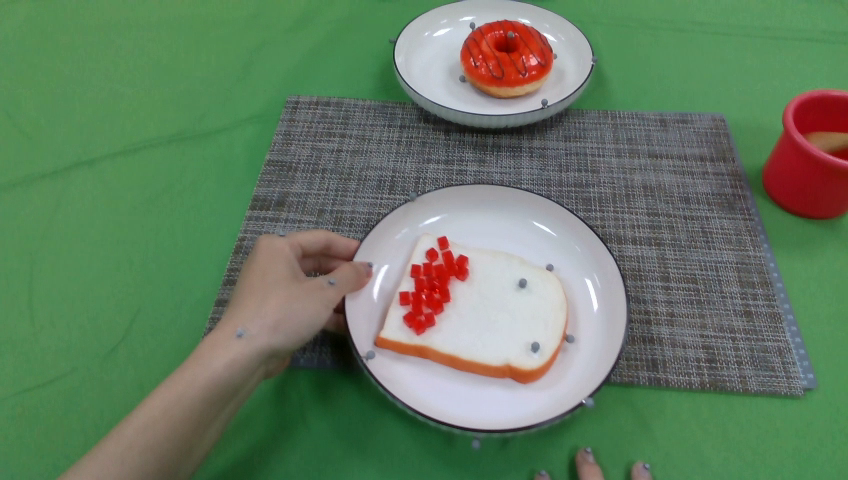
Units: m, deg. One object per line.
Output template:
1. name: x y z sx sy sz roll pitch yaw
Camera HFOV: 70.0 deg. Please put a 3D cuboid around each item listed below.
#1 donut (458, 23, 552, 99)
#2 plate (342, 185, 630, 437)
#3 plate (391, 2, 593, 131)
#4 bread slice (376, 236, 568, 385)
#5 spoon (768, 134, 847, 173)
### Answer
1. donut: 0.084 -0.186 0.630 0.099 0.048 0.098 0 53 0
2. plate: 0.044 0.047 0.455 0.209 0.038 0.207 -1 54 1
3. plate: 0.070 -0.180 0.641 0.208 0.039 0.205 0 51 0
4. bread slice: 0.042 0.051 0.455 0.131 0.019 0.104 13 56 12
5. spoon: 0.382 -0.087 0.493 0.193 0.022 0.041 -9 35 46
